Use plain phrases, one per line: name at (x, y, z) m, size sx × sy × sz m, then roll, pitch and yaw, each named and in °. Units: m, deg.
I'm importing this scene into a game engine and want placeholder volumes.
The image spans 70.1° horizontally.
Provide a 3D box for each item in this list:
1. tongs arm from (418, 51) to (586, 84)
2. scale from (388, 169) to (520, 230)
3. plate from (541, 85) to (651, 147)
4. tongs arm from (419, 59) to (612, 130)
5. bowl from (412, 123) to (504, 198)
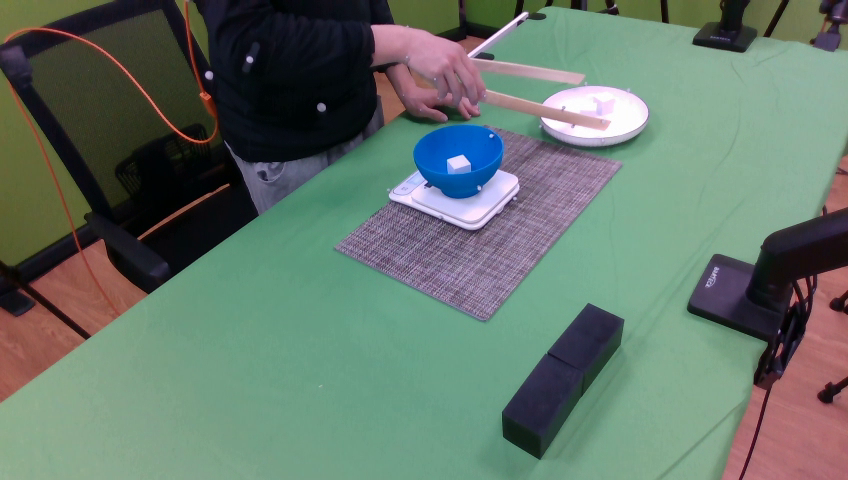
tongs arm at (0.155, -0.311, 1.108) m, size 0.391 × 0.027 × 0.028 m, roll -4°, pitch 62°, yaw -33°
scale at (0.050, -0.090, 1.051) m, size 0.199 × 0.032 × 0.149 m, roll 24°, pitch 49°, yaw 31°
plate at (0.334, -0.238, 1.186) m, size 0.207 × 0.039 × 0.206 m, roll -4°, pitch 41°, yaw 4°
tongs arm at (0.172, -0.252, 1.070) m, size 0.388 × 0.026 × 0.050 m, roll 6°, pitch 54°, yaw -27°
bowl at (0.060, -0.123, 1.007) m, size 0.151 × 0.077 × 0.150 m, roll -5°, pitch 41°, yaw 5°
